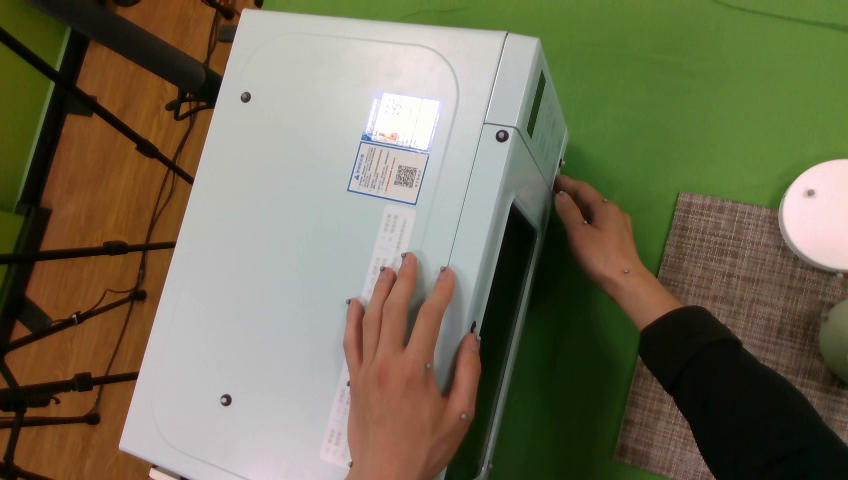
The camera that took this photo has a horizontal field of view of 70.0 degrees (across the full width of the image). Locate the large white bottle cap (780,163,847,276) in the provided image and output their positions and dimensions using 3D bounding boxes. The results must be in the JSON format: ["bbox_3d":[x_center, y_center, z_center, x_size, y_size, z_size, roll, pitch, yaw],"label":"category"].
[{"bbox_3d":[0.425,-0.021,0.611,0.114,0.018,0.114,-4,79,18],"label":"large white bottle cap"}]

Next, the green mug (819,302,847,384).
[{"bbox_3d":[0.416,0.111,0.545,0.092,0.105,0.125,12,85,21],"label":"green mug"}]

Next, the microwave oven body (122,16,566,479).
[{"bbox_3d":[-0.066,0.035,0.644,0.324,0.262,0.441,12,85,20],"label":"microwave oven body"}]

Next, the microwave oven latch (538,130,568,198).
[{"bbox_3d":[0.145,-0.090,0.695,0.030,0.030,0.079,13,86,20],"label":"microwave oven latch"}]

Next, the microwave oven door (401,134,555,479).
[{"bbox_3d":[0.056,0.104,0.584,0.039,0.245,0.355,12,85,21],"label":"microwave oven door"}]
